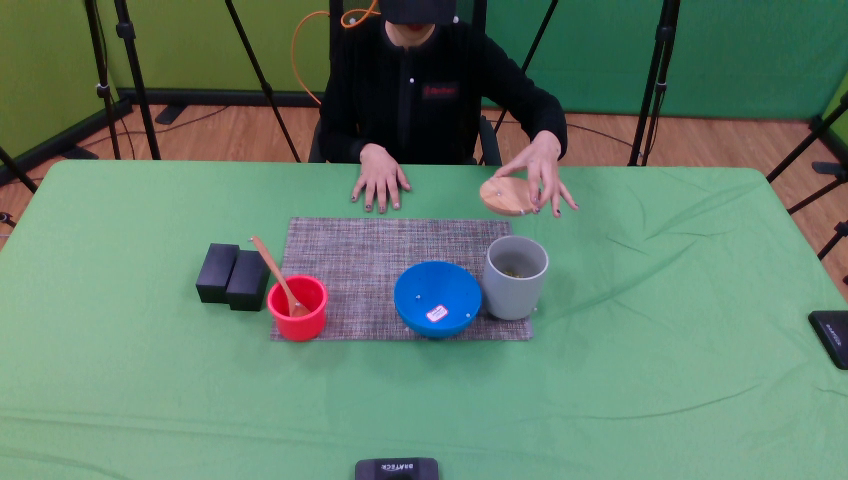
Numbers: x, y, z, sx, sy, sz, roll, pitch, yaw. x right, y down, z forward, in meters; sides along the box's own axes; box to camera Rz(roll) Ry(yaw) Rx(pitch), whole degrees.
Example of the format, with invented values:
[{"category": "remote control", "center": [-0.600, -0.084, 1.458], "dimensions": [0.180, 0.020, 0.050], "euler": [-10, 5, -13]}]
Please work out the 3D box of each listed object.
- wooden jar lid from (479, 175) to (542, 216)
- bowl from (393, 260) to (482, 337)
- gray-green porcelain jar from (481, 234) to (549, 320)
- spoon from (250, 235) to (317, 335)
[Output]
[{"category": "wooden jar lid", "center": [0.149, -0.076, 1.049], "dimensions": [0.108, 0.021, 0.107], "euler": [3, 39, -2]}, {"category": "bowl", "center": [0.021, 0.115, 1.045], "dimensions": [0.151, 0.077, 0.150], "euler": [2, 46, -2]}, {"category": "gray-green porcelain jar", "center": [0.156, 0.070, 1.064], "dimensions": [0.106, 0.127, 0.105], "euler": [2, 46, -2]}, {"category": "spoon", "center": [-0.237, 0.075, 1.019], "dimensions": [0.041, 0.021, 0.194], "euler": [-32, 100, -32]}]
